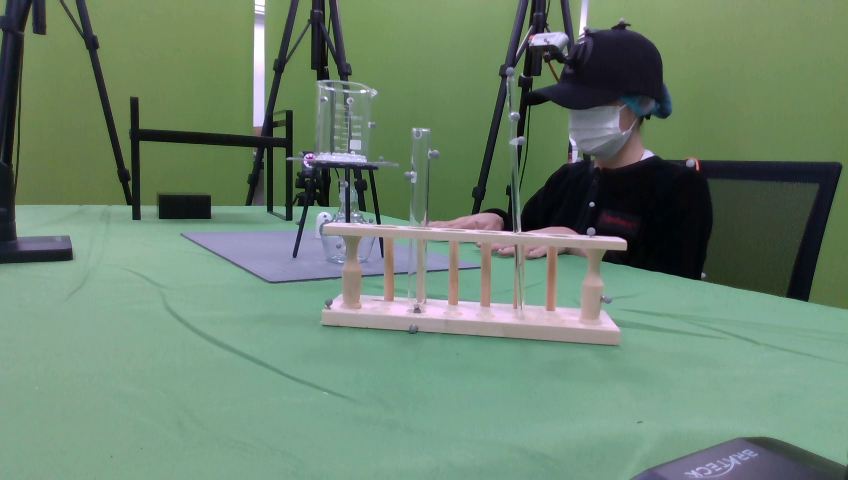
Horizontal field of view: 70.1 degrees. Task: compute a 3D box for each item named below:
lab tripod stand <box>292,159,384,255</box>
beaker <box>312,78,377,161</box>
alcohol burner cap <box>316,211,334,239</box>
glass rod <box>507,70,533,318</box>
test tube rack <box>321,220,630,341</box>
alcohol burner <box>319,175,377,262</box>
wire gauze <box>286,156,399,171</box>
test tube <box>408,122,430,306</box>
[{"bbox_3d":[-0.105,-0.039,0.797,0.148,0.131,0.148,2,5,0],"label":"lab tripod stand"},{"bbox_3d":[-0.103,-0.151,0.775,0.084,0.100,0.074,5,6,14],"label":"beaker"},{"bbox_3d":[-0.171,-0.027,1.048,0.034,0.048,0.034,2,8,0],"label":"alcohol burner cap"},{"bbox_3d":[0.076,-0.031,0.476,0.008,0.199,0.008,-6,12,2],"label":"glass rod"},{"bbox_3d":[0.041,0.029,0.512,0.242,0.085,0.067,3,7,5],"label":"test tube rack"},{"bbox_3d":[-0.101,-0.030,0.807,0.078,0.119,0.078,0,7,0],"label":"alcohol burner"},{"bbox_3d":[-0.101,-0.103,0.788,0.121,0.011,0.125,5,4,6],"label":"wire gauze"},{"bbox_3d":[-0.004,-0.019,0.489,0.017,0.150,0.017,1,11,0],"label":"test tube"}]
